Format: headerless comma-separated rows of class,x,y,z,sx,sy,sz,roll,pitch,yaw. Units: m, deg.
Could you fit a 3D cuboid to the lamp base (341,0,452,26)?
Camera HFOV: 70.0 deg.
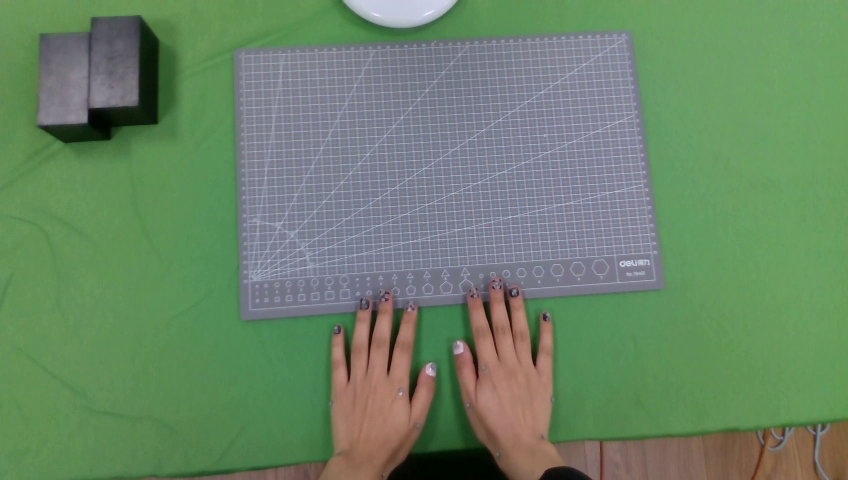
lamp base,-0.034,-0.344,0.615,0.161,0.181,0.178,-17,79,-5
